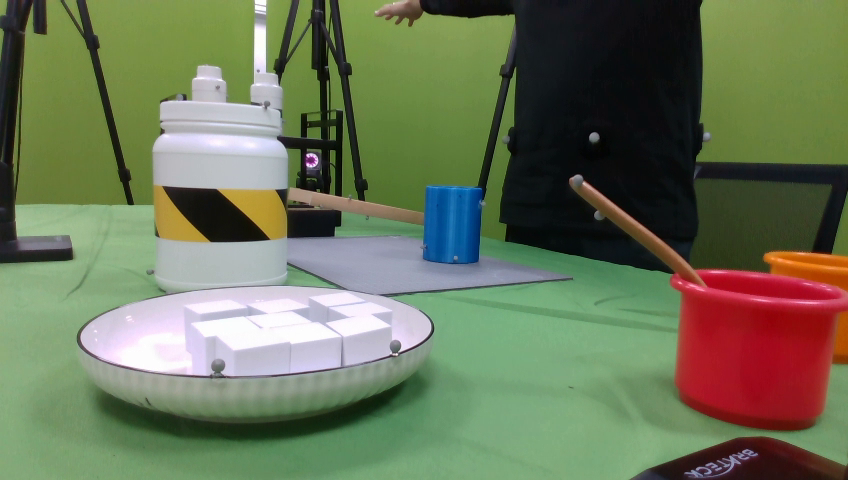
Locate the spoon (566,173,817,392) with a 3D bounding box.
[{"bbox_3d":[0.161,0.024,0.370,0.193,0.021,0.042,47,18,3],"label":"spoon"}]

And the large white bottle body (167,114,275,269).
[{"bbox_3d":[-0.256,-0.063,0.771,0.131,0.184,0.130,2,7,0],"label":"large white bottle body"}]

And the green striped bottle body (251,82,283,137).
[{"bbox_3d":[-0.317,-0.270,1.220,0.063,0.119,0.063,2,7,0],"label":"green striped bottle body"}]

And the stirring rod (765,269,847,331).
[{"bbox_3d":[0.352,0.020,0.484,0.176,0.006,0.014,-40,-7,13],"label":"stirring rod"}]

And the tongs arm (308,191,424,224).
[{"bbox_3d":[-0.048,-0.051,1.169,0.387,0.026,0.050,9,2,-32],"label":"tongs arm"}]

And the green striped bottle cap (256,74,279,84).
[{"bbox_3d":[-0.314,-0.322,1.214,0.044,0.020,0.044,1,8,0],"label":"green striped bottle cap"}]

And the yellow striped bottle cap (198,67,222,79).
[{"bbox_3d":[-0.412,-0.320,1.163,0.044,0.018,0.044,1,6,0],"label":"yellow striped bottle cap"}]

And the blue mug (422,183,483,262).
[{"bbox_3d":[0.032,-0.028,0.878,0.083,0.106,0.116,-2,8,-31],"label":"blue mug"}]

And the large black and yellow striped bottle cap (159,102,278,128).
[{"bbox_3d":[-0.207,-0.125,0.615,0.115,0.019,0.115,2,6,0],"label":"large black and yellow striped bottle cap"}]

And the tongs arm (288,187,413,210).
[{"bbox_3d":[-0.083,-0.062,1.243,0.389,0.027,0.028,10,-2,-19],"label":"tongs arm"}]

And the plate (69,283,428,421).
[{"bbox_3d":[-0.102,0.066,0.381,0.208,0.039,0.207,2,7,0],"label":"plate"}]

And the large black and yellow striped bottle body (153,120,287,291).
[{"bbox_3d":[-0.208,-0.042,0.626,0.131,0.184,0.130,2,7,0],"label":"large black and yellow striped bottle body"}]

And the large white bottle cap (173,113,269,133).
[{"bbox_3d":[-0.254,-0.146,0.760,0.115,0.018,0.115,1,7,0],"label":"large white bottle cap"}]

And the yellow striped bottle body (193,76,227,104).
[{"bbox_3d":[-0.414,-0.268,1.169,0.063,0.120,0.063,2,7,0],"label":"yellow striped bottle body"}]

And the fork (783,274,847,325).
[{"bbox_3d":[0.332,0.018,0.444,0.028,0.018,0.207,-1,-36,-15],"label":"fork"}]
